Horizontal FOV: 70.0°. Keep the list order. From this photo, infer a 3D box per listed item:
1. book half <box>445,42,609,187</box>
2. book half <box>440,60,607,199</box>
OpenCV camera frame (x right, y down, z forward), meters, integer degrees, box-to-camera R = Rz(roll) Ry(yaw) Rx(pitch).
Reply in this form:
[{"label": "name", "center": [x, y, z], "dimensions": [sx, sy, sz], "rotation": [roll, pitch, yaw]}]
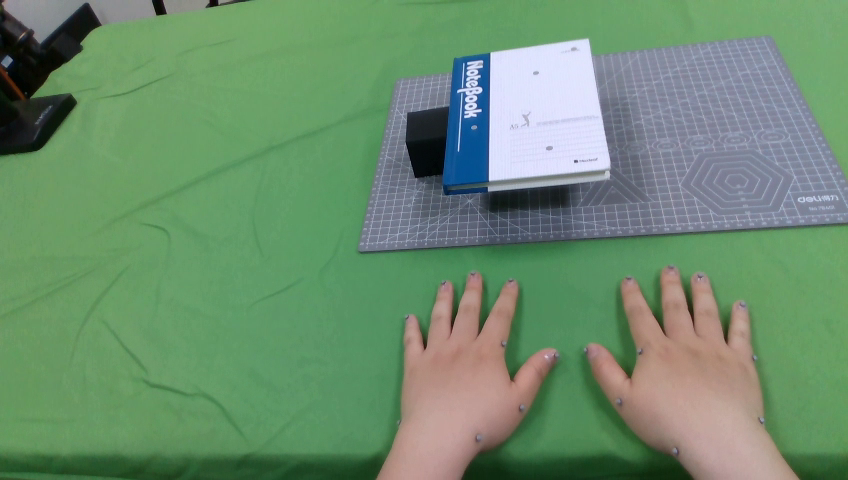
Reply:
[{"label": "book half", "center": [0.097, -0.130, 0.596], "dimensions": [0.143, 0.007, 0.208], "rotation": [-4, 47, 11]}, {"label": "book half", "center": [0.095, -0.124, 0.602], "dimensions": [0.148, 0.016, 0.208], "rotation": [-4, 48, 12]}]
